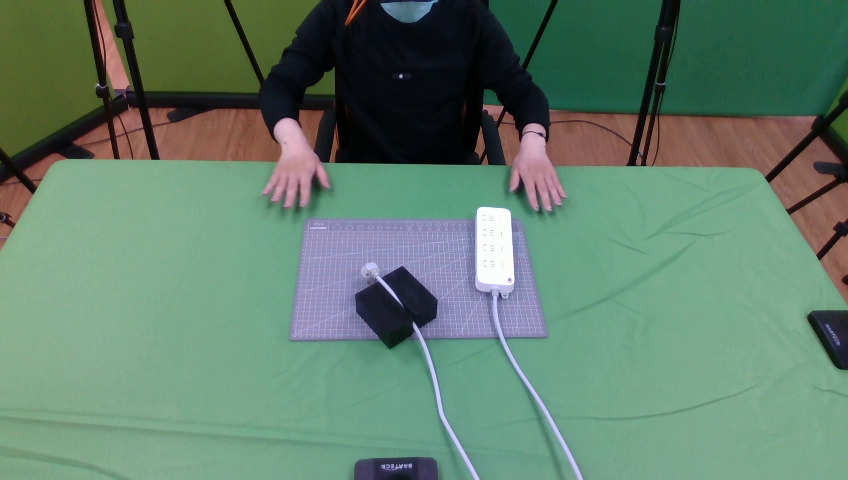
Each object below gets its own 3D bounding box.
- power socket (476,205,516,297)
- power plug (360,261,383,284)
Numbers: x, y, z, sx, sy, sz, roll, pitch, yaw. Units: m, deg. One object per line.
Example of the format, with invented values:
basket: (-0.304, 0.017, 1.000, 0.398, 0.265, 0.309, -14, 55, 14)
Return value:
power socket: (0.139, 0.013, 1.178, 0.072, 0.033, 0.225, 4, 47, 2)
power plug: (-0.095, 0.068, 1.092, 0.035, 0.053, 0.072, -9, 45, -6)
